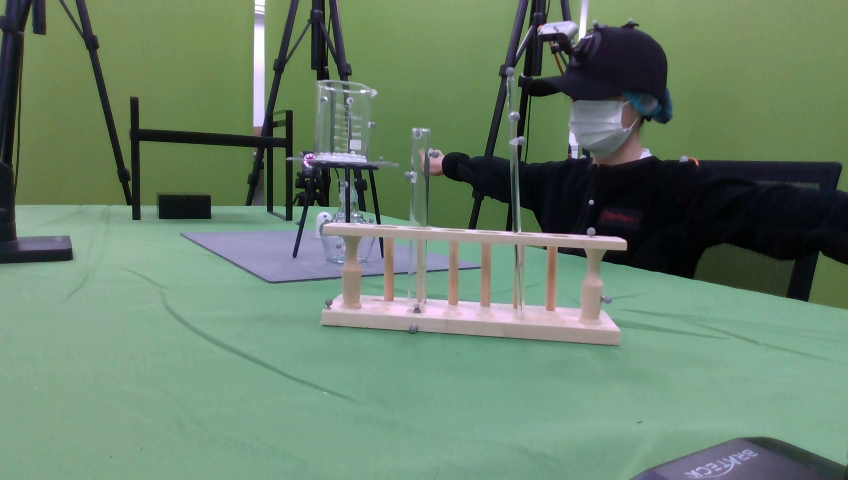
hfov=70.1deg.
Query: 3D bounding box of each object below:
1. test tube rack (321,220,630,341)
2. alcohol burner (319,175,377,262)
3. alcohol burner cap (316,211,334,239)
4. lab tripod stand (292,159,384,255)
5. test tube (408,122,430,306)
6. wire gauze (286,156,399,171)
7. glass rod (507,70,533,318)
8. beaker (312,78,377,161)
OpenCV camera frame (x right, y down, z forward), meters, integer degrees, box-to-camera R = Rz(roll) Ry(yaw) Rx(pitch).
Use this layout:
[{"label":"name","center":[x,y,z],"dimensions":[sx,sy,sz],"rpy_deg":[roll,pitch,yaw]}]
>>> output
[{"label":"test tube rack","center":[0.041,0.029,0.512],"dimensions":[0.242,0.085,0.067],"rpy_deg":[3,7,5]},{"label":"alcohol burner","center":[-0.101,-0.030,0.807],"dimensions":[0.078,0.119,0.078],"rpy_deg":[0,7,0]},{"label":"alcohol burner cap","center":[-0.171,-0.027,1.048],"dimensions":[0.034,0.048,0.034],"rpy_deg":[2,8,0]},{"label":"lab tripod stand","center":[-0.105,-0.039,0.797],"dimensions":[0.148,0.131,0.148],"rpy_deg":[2,5,0]},{"label":"test tube","center":[-0.004,-0.019,0.489],"dimensions":[0.017,0.150,0.017],"rpy_deg":[1,11,0]},{"label":"wire gauze","center":[-0.101,-0.103,0.788],"dimensions":[0.121,0.011,0.125],"rpy_deg":[5,4,6]},{"label":"glass rod","center":[0.076,-0.031,0.476],"dimensions":[0.008,0.199,0.008],"rpy_deg":[-6,12,2]},{"label":"beaker","center":[-0.103,-0.151,0.776],"dimensions":[0.084,0.100,0.074],"rpy_deg":[5,7,14]}]
